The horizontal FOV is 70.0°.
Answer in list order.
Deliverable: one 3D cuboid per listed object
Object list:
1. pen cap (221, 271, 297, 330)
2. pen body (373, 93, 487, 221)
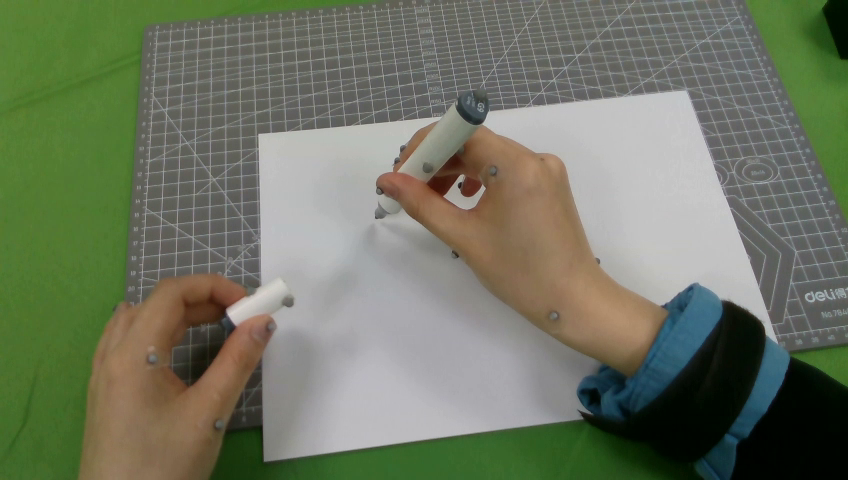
[{"bbox_3d":[-0.086,0.032,0.315,0.038,0.017,0.017,-30,68,1],"label":"pen cap"},{"bbox_3d":[-0.004,-0.034,0.316,0.017,0.144,0.017,7,70,-20],"label":"pen body"}]
